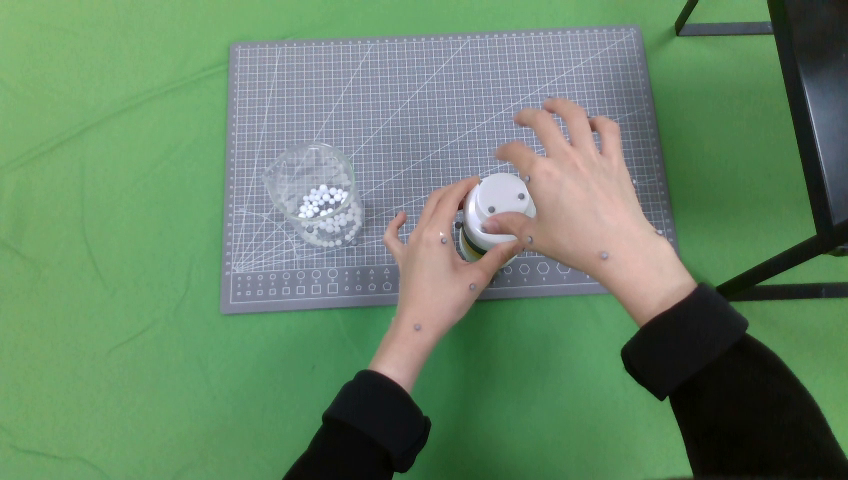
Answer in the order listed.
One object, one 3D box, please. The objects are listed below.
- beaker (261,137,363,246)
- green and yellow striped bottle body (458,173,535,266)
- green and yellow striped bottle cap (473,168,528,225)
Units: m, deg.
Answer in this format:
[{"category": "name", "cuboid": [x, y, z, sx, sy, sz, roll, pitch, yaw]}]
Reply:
[{"category": "beaker", "cuboid": [-0.099, -0.040, 0.563, 0.084, 0.101, 0.073, 8, 73, 3]}, {"category": "green and yellow striped bottle body", "cuboid": [0.064, -0.020, 0.546, 0.063, 0.120, 0.063, 0, 74, 1]}, {"category": "green and yellow striped bottle cap", "cuboid": [0.062, -0.036, 0.495, 0.045, 0.020, 0.045, 0, 77, -2]}]
